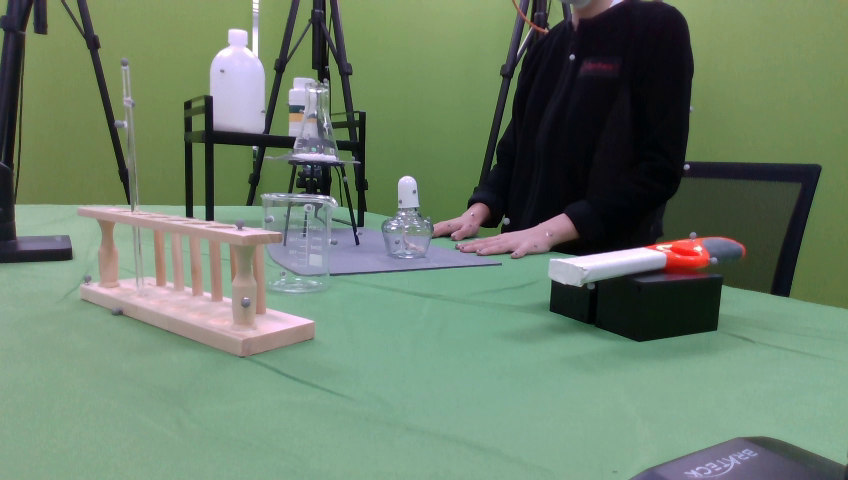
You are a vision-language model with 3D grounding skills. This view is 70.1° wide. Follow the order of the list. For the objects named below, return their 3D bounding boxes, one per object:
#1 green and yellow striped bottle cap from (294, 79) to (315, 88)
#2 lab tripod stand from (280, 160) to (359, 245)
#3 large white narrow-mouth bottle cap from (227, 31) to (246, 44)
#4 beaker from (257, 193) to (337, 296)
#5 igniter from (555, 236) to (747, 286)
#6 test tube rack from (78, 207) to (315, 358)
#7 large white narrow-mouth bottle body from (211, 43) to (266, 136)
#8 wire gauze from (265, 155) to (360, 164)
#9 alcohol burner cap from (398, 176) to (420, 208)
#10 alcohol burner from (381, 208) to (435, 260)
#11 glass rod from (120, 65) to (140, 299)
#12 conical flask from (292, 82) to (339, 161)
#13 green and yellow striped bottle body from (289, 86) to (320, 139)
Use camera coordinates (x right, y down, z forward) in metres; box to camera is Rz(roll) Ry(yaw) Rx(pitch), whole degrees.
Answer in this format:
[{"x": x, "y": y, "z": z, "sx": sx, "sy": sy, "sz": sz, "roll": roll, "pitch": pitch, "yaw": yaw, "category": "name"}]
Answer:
[{"x": -0.248, "y": -0.323, "z": 1.256, "sx": 0.045, "sy": 0.020, "sz": 0.045, "roll": 3, "pitch": 9, "yaw": 0, "category": "green and yellow striped bottle cap"}, {"x": -0.176, "y": -0.062, "z": 0.973, "sx": 0.148, "sy": 0.131, "sz": 0.148, "roll": 1, "pitch": 7, "yaw": 0, "category": "lab tripod stand"}, {"x": -0.361, "y": -0.388, "z": 1.165, "sx": 0.038, "sy": 0.024, "sz": 0.037, "roll": 1, "pitch": 7, "yaw": 0, "category": "large white narrow-mouth bottle cap"}, {"x": -0.130, "y": 0.004, "z": 0.628, "sx": 0.084, "sy": 0.100, "sz": 0.074, "roll": 5, "pitch": 8, "yaw": 15, "category": "beaker"}, {"x": 0.221, "y": 0.017, "z": 0.558, "sx": 0.278, "sy": 0.025, "sz": 0.057, "roll": -5, "pitch": 15, "yaw": -39, "category": "igniter"}, {"x": -0.196, "y": 0.023, "z": 0.500, "sx": 0.241, "sy": 0.085, "sz": 0.067, "roll": 8, "pitch": 8, "yaw": 37, "category": "test tube rack"}, {"x": -0.361, "y": -0.302, "z": 1.176, "sx": 0.102, "sy": 0.194, "sz": 0.102, "roll": 1, "pitch": 7, "yaw": 0, "category": "large white narrow-mouth bottle body"}, {"x": -0.181, "y": -0.128, "z": 0.969, "sx": 0.126, "sy": 0.011, "sz": 0.121, "roll": -3, "pitch": 7, "yaw": -26, "category": "wire gauze"}, {"x": -0.023, "y": -0.068, "z": 0.866, "sx": 0.034, "sy": 0.048, "sz": 0.034, "roll": -4, "pitch": 8, "yaw": 1, "category": "alcohol burner cap"}, {"x": -0.023, "y": -0.032, "z": 0.872, "sx": 0.078, "sy": 0.119, "sz": 0.078, "roll": 0, "pitch": 6, "yaw": 0, "category": "alcohol burner"}, {"x": -0.249, "y": -0.047, "z": 0.513, "sx": 0.008, "sy": 0.199, "sz": 0.008, "roll": -1, "pitch": 4, "yaw": 0, "category": "glass rod"}, {"x": -0.171, "y": -0.185, "z": 0.957, "sx": 0.075, "sy": 0.122, "sz": 0.075, "roll": 2, "pitch": 7, "yaw": 0, "category": "conical flask"}, {"x": -0.250, "y": -0.272, "z": 1.261, "sx": 0.063, "sy": 0.119, "sz": 0.063, "roll": 3, "pitch": 7, "yaw": 0, "category": "green and yellow striped bottle body"}]
